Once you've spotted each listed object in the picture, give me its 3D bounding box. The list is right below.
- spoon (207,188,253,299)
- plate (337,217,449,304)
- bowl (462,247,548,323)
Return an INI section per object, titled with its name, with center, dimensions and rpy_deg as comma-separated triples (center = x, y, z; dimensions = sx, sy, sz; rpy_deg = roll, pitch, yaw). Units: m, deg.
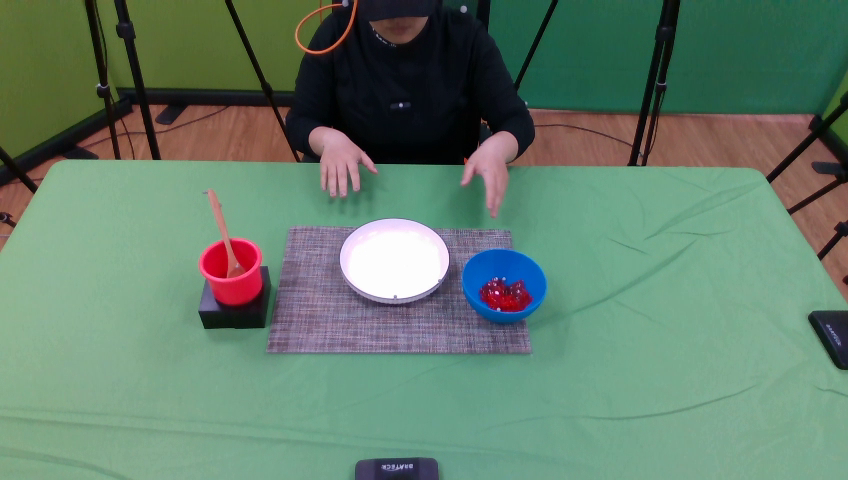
[spoon]
center = -0.328, 0.005, 1.013
dimensions = 0.042, 0.021, 0.193
rpy_deg = -16, 93, -19
[plate]
center = -0.058, 0.042, 1.136
dimensions = 0.208, 0.039, 0.206
rpy_deg = 2, 46, -2
[bowl]
center = 0.138, 0.093, 1.072
dimensions = 0.151, 0.077, 0.150
rpy_deg = 2, 46, -2
